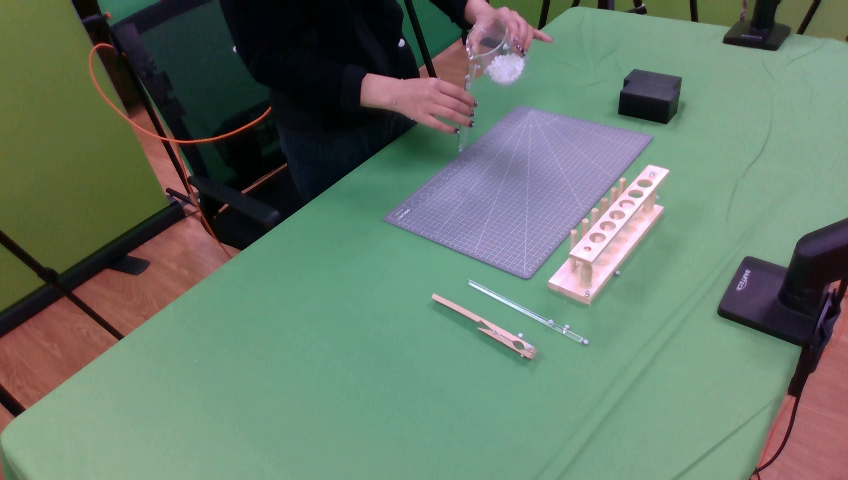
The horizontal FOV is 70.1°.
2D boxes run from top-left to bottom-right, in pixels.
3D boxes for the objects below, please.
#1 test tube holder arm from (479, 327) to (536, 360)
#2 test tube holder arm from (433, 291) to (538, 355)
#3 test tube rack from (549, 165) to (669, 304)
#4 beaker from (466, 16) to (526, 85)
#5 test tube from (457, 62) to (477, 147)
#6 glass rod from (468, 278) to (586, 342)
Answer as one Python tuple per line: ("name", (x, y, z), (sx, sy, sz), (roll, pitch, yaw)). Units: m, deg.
("test tube holder arm", (0.110, 0.134, 0.805), (0.087, 0.015, 0.010), (29, 83, 36))
("test tube holder arm", (0.081, 0.112, 0.832), (0.177, 0.015, 0.013), (29, 82, 36))
("test tube rack", (0.279, -0.018, 0.902), (0.066, 0.085, 0.243), (24, 50, 33))
("beaker", (0.125, -0.319, 1.038), (0.084, 0.101, 0.073), (-50, 54, 5))
("test tube", (0.073, -0.231, 1.045), (0.017, 0.150, 0.017), (5, 31, -3))
("glass rod", (0.140, 0.096, 0.853), (0.198, 0.008, 0.008), (27, 53, 35))
